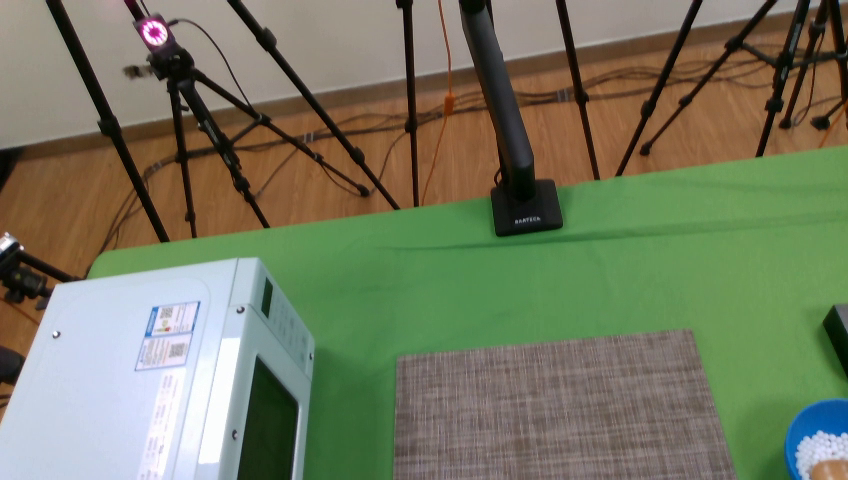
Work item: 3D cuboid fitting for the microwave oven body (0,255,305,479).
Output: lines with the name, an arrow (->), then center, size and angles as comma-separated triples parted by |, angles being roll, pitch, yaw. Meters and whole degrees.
microwave oven body -> -0.354, 0.284, 0.794 | 0.326, 0.263, 0.437 | -8, 53, 6

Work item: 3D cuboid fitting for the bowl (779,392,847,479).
bowl -> 0.502, 0.268, 0.727 | 0.151, 0.077, 0.150 | -6, 52, 8

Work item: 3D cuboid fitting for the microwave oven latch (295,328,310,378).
microwave oven latch -> -0.198, 0.180, 0.960 | 0.030, 0.030, 0.078 | -9, 53, 6

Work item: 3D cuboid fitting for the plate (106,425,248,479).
plate -> -0.329, 0.352, 0.800 | 0.207, 0.039, 0.205 | -5, 53, 6

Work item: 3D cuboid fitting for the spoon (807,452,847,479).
spoon -> 0.545, 0.247, 0.693 | 0.193, 0.022, 0.041 | -24, 42, 23

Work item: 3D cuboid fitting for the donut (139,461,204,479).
donut -> -0.331, 0.334, 0.778 | 0.099, 0.049, 0.098 | -3, 51, 4

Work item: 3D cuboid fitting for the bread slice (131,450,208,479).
bread slice -> -0.335, 0.342, 0.798 | 0.133, 0.018, 0.107 | 25, 54, 32

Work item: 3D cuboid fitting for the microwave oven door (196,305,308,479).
microwave oven door -> -0.209, 0.291, 0.748 | 0.039, 0.246, 0.352 | -9, 52, 7

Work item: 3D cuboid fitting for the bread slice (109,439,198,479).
bread slice -> -0.341, 0.317, 0.759 | 0.130, 0.019, 0.105 | 36, 71, 30
